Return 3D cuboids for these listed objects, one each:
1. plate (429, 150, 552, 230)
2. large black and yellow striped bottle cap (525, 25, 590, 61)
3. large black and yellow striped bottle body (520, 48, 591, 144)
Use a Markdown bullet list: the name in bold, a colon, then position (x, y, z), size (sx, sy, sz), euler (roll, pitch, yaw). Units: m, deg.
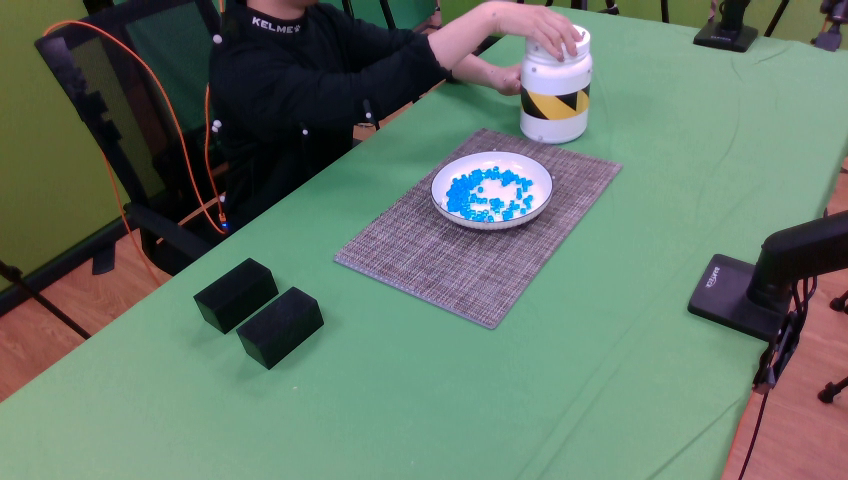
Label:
- **plate**: position (0.113, -0.082, 1.032), size (0.207, 0.039, 0.206), euler (-4, 41, 4)
- **large black and yellow striped bottle cap**: position (0.240, -0.358, 1.090), size (0.115, 0.019, 0.114), euler (-3, 42, 3)
- **large black and yellow striped bottle body**: position (0.248, -0.291, 1.149), size (0.131, 0.185, 0.130), euler (-4, 40, 4)
